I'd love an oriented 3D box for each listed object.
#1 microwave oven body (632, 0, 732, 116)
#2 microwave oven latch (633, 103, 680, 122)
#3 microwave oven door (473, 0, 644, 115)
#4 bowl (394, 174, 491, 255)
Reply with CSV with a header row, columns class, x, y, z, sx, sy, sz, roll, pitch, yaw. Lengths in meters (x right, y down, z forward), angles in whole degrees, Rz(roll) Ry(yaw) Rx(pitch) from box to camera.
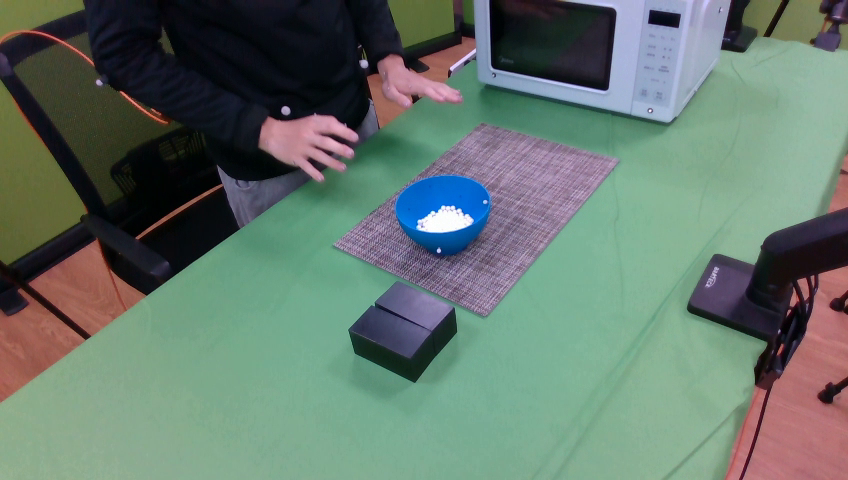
class,x,y,z,sx,sy,sz,roll,pitch,yaw
microwave oven body,0.377,-0.462,1.267,0.438,0.261,0.327,21,48,30
microwave oven latch,0.443,-0.249,1.157,0.078,0.029,0.030,21,48,30
microwave oven door,0.257,-0.396,1.199,0.353,0.245,0.039,21,48,29
bowl,0.032,-0.030,0.949,0.151,0.077,0.150,-4,40,4
